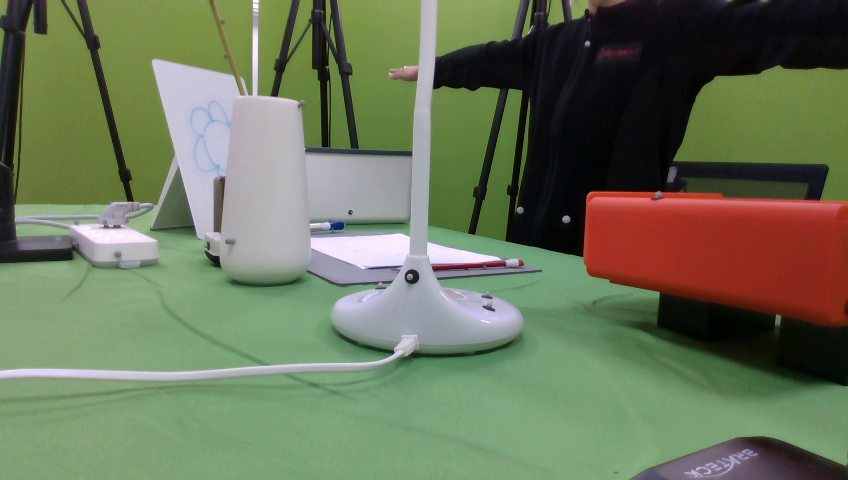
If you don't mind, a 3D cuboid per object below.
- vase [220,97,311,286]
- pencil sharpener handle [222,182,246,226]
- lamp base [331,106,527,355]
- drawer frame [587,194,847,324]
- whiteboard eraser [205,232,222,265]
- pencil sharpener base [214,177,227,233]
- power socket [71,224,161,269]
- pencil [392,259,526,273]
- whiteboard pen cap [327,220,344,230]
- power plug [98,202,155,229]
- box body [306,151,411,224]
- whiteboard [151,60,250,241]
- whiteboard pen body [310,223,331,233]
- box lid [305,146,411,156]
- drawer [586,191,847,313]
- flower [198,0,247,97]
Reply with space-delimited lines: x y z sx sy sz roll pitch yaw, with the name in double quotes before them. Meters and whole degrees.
"vase" -0.172 -0.052 0.662 0.098 0.200 0.098 3 8 0
"pencil sharpener handle" -0.289 -0.055 0.912 0.036 0.067 0.030 -3 9 -29
"lamp base" 0.006 -0.012 0.478 0.161 0.180 0.179 2 10 2
"drawer frame" 0.285 0.004 0.508 0.203 0.082 0.212 -1 6 -29
"whiteboard eraser" -0.219 0.010 0.778 0.113 0.042 0.055 -3 7 -33
"pencil sharpener base" -0.265 -0.036 0.870 0.061 0.107 0.076 -2 8 -29
"power socket" -0.408 0.004 0.793 0.072 0.032 0.225 -2 8 -38
"pencil" 0.049 0.035 0.782 0.195 0.012 0.012 -2 9 -25
"whiteboard pen cap" -0.166 -0.027 1.124 0.018 0.018 0.033 9 10 41
"power plug" -0.416 -0.027 0.848 0.073 0.052 0.035 0 8 -28
"box body" -0.230 -0.126 1.371 0.366 0.160 0.253 -2 8 -33
"whiteboard" -0.408 -0.139 1.093 0.143 0.305 0.218 -15 -1 26
"whiteboard pen body" -0.207 -0.021 1.081 0.017 0.017 0.141 9 10 41
"box lid" -0.229 -0.200 1.361 0.373 0.015 0.262 -3 9 -32
"drawer" 0.281 0.001 0.513 0.195 0.073 0.210 -1 8 -29
"flower" -0.187 -0.133 0.648 0.038 0.362 0.044 -1 22 43
